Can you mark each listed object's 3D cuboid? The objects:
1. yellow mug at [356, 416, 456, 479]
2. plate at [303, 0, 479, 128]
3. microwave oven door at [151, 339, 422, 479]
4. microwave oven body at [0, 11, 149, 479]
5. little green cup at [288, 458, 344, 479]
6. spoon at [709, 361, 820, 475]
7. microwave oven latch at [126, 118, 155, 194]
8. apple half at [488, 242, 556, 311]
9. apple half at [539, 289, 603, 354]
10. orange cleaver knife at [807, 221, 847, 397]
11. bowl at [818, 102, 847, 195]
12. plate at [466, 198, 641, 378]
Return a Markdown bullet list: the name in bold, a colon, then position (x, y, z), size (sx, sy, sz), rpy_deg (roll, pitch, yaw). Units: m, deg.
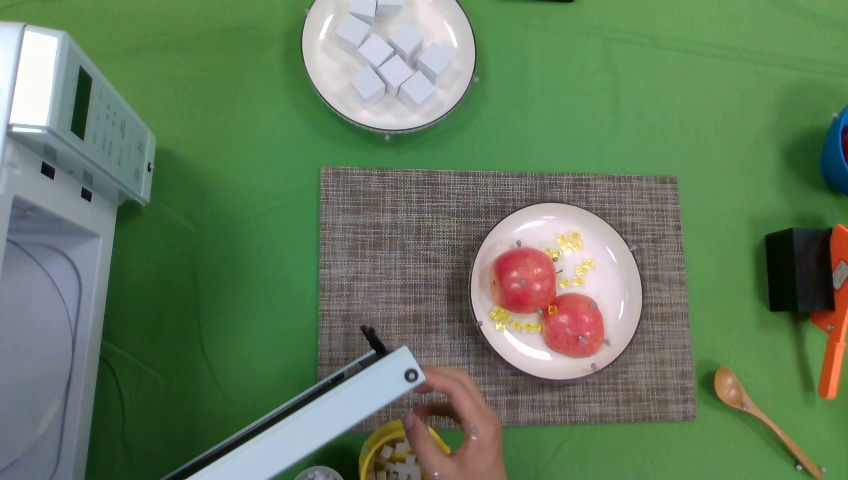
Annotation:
- **yellow mug**: position (-0.024, 0.258, 0.643), size (0.100, 0.064, 0.130), rpy_deg (11, 82, -7)
- **plate**: position (-0.039, -0.230, 0.731), size (0.208, 0.039, 0.207), rpy_deg (1, 81, -8)
- **microwave oven door**: position (-0.172, 0.192, 0.524), size (0.356, 0.244, 0.039), rpy_deg (-30, 86, -12)
- **microwave oven body**: position (-0.450, 0.057, 0.509), size (0.327, 0.260, 0.440), rpy_deg (4, 81, -8)
- **little green cup**: position (-0.115, 0.262, 0.644), size (0.062, 0.038, 0.061), rpy_deg (2, 79, -8)
- **spoon**: position (0.414, 0.220, 0.736), size (0.193, 0.022, 0.041), rpy_deg (43, 60, 0)
- **microwave oven latch**: position (-0.308, -0.091, 0.651), size (0.030, 0.029, 0.079), rpy_deg (5, 81, -8)
- **apple half**: position (0.115, 0.040, 0.692), size (0.075, 0.053, 0.080), rpy_deg (-1, 82, -6)
- **apple half**: position (0.174, 0.094, 0.702), size (0.081, 0.033, 0.081), rpy_deg (2, 78, -7)
- **orange cleaver knife**: position (0.495, 0.085, 0.738), size (0.012, 0.077, 0.212), rpy_deg (2, 104, -4)
- **bowl**: position (0.571, -0.111, 0.781), size (0.152, 0.077, 0.151), rpy_deg (1, 81, -8)
- **plate**: position (0.149, 0.055, 0.711), size (0.209, 0.038, 0.208), rpy_deg (1, 82, -8)
